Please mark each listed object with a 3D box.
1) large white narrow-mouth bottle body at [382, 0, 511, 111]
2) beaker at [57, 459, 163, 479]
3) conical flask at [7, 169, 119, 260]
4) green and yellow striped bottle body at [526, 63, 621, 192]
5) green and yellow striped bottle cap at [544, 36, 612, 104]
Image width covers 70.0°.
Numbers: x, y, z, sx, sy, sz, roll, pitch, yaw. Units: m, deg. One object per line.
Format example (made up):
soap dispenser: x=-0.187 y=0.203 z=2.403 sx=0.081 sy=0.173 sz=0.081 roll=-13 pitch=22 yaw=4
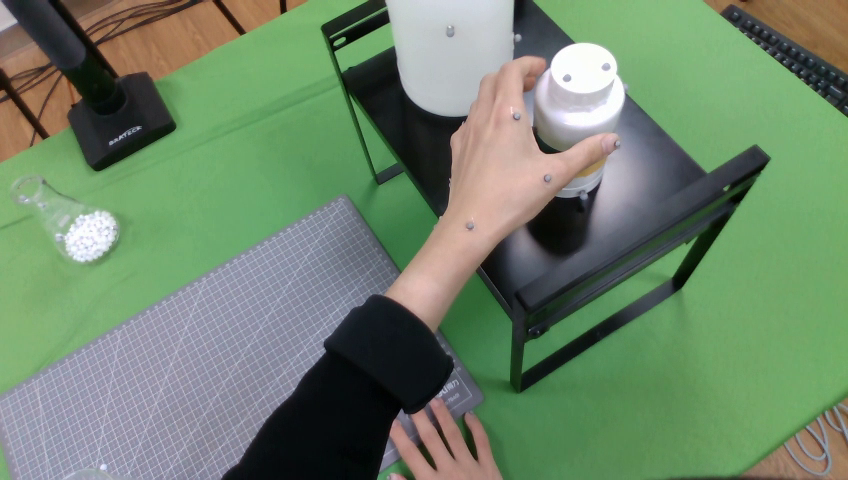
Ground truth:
large white narrow-mouth bottle body: x=0.017 y=-0.196 z=0.477 sx=0.101 sy=0.196 sz=0.101 roll=-3 pitch=64 yaw=7
beaker: x=-0.284 y=0.247 z=0.550 sx=0.084 sy=0.101 sz=0.073 roll=-22 pitch=63 yaw=-3
conical flask: x=-0.413 y=-0.033 z=0.688 sx=0.075 sy=0.123 sz=0.074 roll=-3 pitch=64 yaw=6
green and yellow striped bottle body: x=0.111 y=-0.092 z=0.458 sx=0.063 sy=0.120 sz=0.062 roll=-3 pitch=64 yaw=6
green and yellow striped bottle cap: x=0.105 y=-0.116 z=0.412 sx=0.045 sy=0.020 sz=0.045 roll=-2 pitch=67 yaw=5
